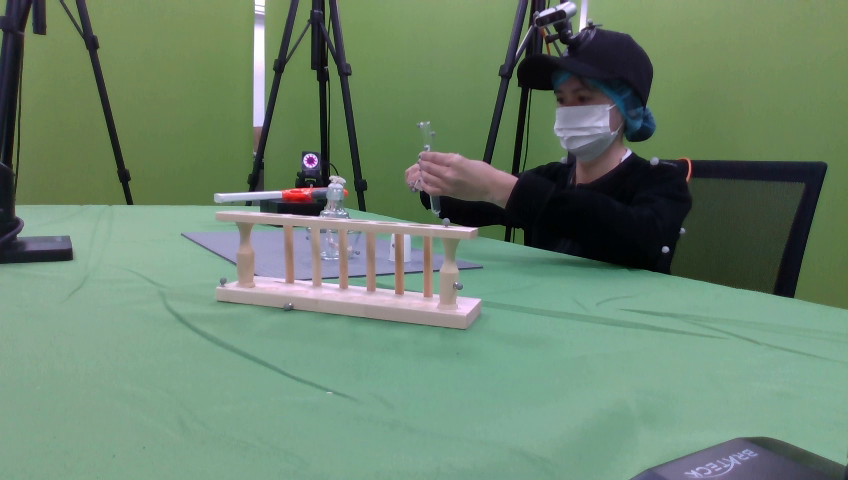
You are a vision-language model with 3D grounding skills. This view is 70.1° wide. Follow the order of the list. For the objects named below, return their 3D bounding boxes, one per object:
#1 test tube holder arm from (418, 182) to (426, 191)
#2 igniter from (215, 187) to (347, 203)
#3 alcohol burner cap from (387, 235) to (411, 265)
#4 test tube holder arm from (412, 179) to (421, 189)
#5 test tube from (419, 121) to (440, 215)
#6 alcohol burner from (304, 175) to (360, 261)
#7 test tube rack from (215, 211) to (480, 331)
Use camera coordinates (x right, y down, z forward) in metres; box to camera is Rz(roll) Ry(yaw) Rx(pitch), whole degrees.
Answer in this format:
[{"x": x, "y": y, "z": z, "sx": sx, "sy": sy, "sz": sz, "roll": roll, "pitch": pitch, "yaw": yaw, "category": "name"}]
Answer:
[{"x": -0.006, "y": -0.094, "z": 1.050, "sx": 0.010, "sy": 0.015, "sz": 0.087, "roll": 34, "pitch": 4, "yaw": -7, "category": "test tube holder arm"}, {"x": -0.293, "y": -0.095, "z": 1.267, "sx": 0.278, "sy": 0.025, "sz": 0.057, "roll": -6, "pitch": 12, "yaw": -34, "category": "igniter"}, {"x": -0.035, "y": 0.009, "z": 0.839, "sx": 0.034, "sy": 0.048, "sz": 0.034, "roll": 2, "pitch": 6, "yaw": 0, "category": "alcohol burner cap"}, {"x": -0.013, "y": -0.102, "z": 1.094, "sx": 0.013, "sy": 0.015, "sz": 0.178, "roll": 34, "pitch": 4, "yaw": -7, "category": "test tube holder arm"}, {"x": 0.010, "y": -0.111, "z": 0.950, "sx": 0.017, "sy": 0.150, "sz": 0.017, "roll": -7, "pitch": 21, "yaw": 3, "category": "test tube"}, {"x": -0.126, "y": -0.031, "z": 0.838, "sx": 0.078, "sy": 0.119, "sz": 0.078, "roll": 3, "pitch": 5, "yaw": 0, "category": "alcohol burner"}, {"x": -0.071, "y": 0.022, "z": 0.565, "sx": 0.242, "sy": 0.085, "sz": 0.067, "roll": 5, "pitch": 7, "yaw": 16, "category": "test tube rack"}]
